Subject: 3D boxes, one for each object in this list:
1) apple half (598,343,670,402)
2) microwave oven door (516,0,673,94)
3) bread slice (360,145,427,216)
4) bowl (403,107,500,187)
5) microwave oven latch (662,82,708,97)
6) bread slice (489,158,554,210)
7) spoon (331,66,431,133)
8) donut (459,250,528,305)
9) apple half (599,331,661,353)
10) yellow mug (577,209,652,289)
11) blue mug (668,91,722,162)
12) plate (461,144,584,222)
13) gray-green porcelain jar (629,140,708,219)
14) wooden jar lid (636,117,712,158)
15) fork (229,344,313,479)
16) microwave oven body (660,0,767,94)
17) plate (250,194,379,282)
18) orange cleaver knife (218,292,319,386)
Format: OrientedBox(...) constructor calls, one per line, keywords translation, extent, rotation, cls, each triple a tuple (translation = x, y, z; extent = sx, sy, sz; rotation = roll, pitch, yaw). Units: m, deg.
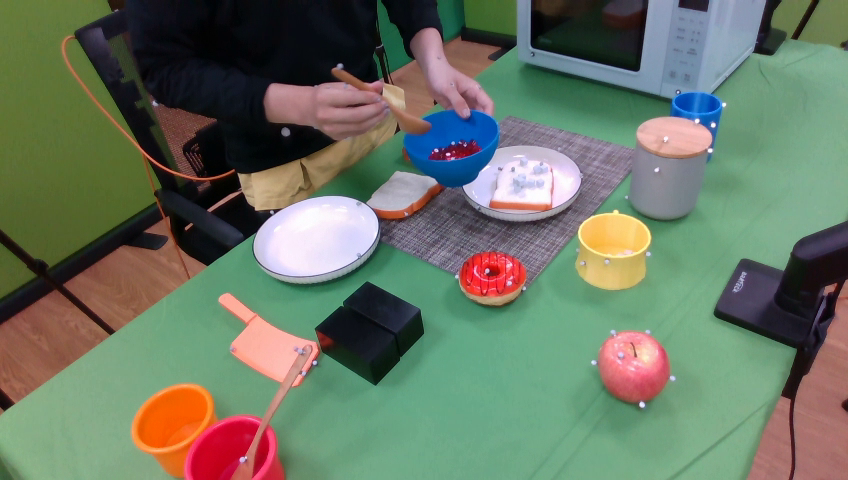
OrientedBox(translation=(0.247, 0.161, 0.710), extent=(0.081, 0.075, 0.053), rotation=(1, 47, 5), cls="apple half")
OrientedBox(translation=(0.344, -0.458, 1.256), extent=(0.353, 0.245, 0.039), rotation=(26, 52, 33), cls="microwave oven door")
OrientedBox(translation=(-0.053, -0.103, 1.046), extent=(0.106, 0.018, 0.134), rotation=(19, 67, 22), cls="bread slice")
OrientedBox(translation=(0.046, -0.136, 0.945), extent=(0.151, 0.077, 0.150), rotation=(-6, 41, 5), cls="bowl")
OrientedBox(translation=(0.518, -0.298, 1.203), extent=(0.078, 0.029, 0.030), rotation=(28, 53, 35), cls="microwave oven latch")
OrientedBox(translation=(0.173, -0.100, 1.047), extent=(0.104, 0.019, 0.131), rotation=(4, 42, 12), cls="bread slice")
OrientedBox(translation=(-0.057, -0.189, 0.827), extent=(0.041, 0.195, 0.021), rotation=(-15, 62, 35), cls="spoon")
OrientedBox(translation=(0.100, 0.053, 0.872), extent=(0.099, 0.048, 0.098), rotation=(-4, 40, 4), cls="donut")
OrientedBox(translation=(0.249, 0.134, 0.738), extent=(0.081, 0.081, 0.032), rotation=(-1, 46, 7), cls="apple half")
OrientedBox(translation=(0.279, 0.004, 0.893), extent=(0.099, 0.064, 0.130), rotation=(5, 42, 14), cls="yellow mug")
OrientedBox(translation=(0.474, -0.207, 1.079), extent=(0.082, 0.106, 0.116), rotation=(4, 42, 13), cls="blue mug")
OrientedBox(translation=(0.167, -0.095, 1.040), extent=(0.207, 0.039, 0.206), rotation=(-4, 41, 4), cls="plate")
OrientedBox(translation=(0.383, -0.104, 0.958), extent=(0.106, 0.127, 0.105), rotation=(-4, 41, 4), cls="gray-green porcelain jar")
OrientedBox(translation=(0.377, -0.151, 0.917), extent=(0.108, 0.021, 0.108), rotation=(-2, 41, 3), cls="wooden jar lid")
OrientedBox(translation=(-0.173, 0.205, 0.662), extent=(0.028, 0.019, 0.207), rotation=(29, 94, 35), cls="fork")
OrientedBox(translation=(0.474, -0.517, 1.313), extent=(0.438, 0.261, 0.327), rotation=(26, 51, 34), cls="microwave oven body")
OrientedBox(translation=(-0.174, 0.000, 0.984), extent=(0.209, 0.038, 0.208), rotation=(-3, 40, 3), cls="plate")
OrientedBox(translation=(-0.234, 0.136, 0.850), extent=(0.209, 0.012, 0.077), rotation=(25, 56, 30), cls="orange cleaver knife")
